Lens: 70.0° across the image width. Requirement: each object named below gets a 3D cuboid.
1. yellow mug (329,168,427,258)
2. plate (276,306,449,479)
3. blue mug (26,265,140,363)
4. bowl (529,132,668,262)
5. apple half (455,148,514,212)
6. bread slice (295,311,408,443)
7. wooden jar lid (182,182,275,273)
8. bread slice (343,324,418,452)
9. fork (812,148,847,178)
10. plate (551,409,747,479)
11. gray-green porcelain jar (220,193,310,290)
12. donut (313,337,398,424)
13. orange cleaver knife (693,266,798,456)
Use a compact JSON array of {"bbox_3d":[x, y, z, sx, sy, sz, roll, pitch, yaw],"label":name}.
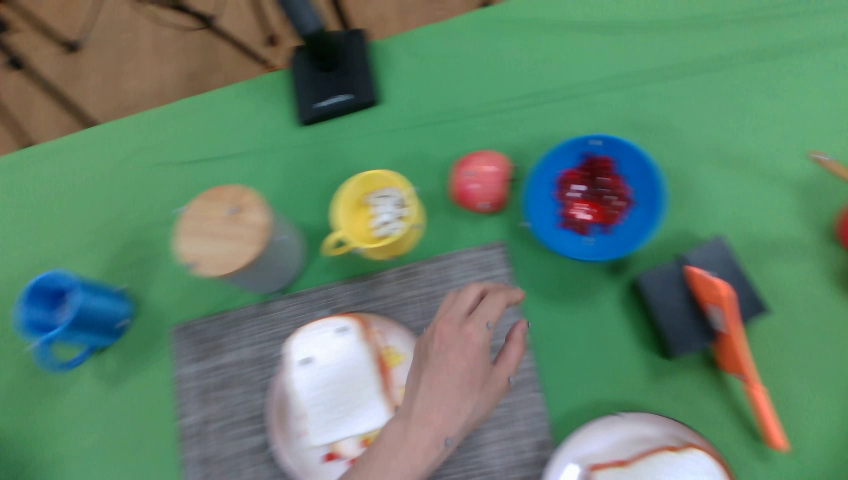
[{"bbox_3d":[-0.064,-0.024,0.761,0.131,0.064,0.099,-36,73,1],"label":"yellow mug"},{"bbox_3d":[-0.071,0.183,0.719,0.207,0.039,0.206,-3,76,10],"label":"plate"},{"bbox_3d":[-0.438,0.099,0.777,0.082,0.106,0.116,6,77,12],"label":"blue mug"},{"bbox_3d":[0.200,-0.041,0.708,0.151,0.077,0.150,-3,75,10],"label":"bowl"},{"bbox_3d":[0.075,-0.080,0.756,0.074,0.054,0.080,8,78,15],"label":"apple half"},{"bbox_3d":[-0.085,0.142,0.638,0.105,0.019,0.131,-19,87,11],"label":"bread slice"},{"bbox_3d":[-0.219,-0.013,0.688,0.108,0.021,0.107,-3,73,8],"label":"wooden jar lid"},{"bbox_3d":[-0.067,0.180,0.719,0.107,0.018,0.133,-31,74,2],"label":"bread slice"},{"bbox_3d":[0.464,-0.047,0.623,0.209,0.018,0.028,25,77,-26],"label":"fork"},{"bbox_3d":[0.236,0.286,0.639,0.209,0.038,0.208,-3,75,11],"label":"plate"},{"bbox_3d":[-0.206,0.003,0.748,0.105,0.127,0.105,-3,74,10],"label":"gray-green porcelain jar"},{"bbox_3d":[-0.079,0.161,0.696,0.099,0.048,0.098,-3,75,10],"label":"donut"},{"bbox_3d":[0.336,0.125,0.638,0.012,0.077,0.211,-24,94,-3],"label":"orange cleaver knife"}]
